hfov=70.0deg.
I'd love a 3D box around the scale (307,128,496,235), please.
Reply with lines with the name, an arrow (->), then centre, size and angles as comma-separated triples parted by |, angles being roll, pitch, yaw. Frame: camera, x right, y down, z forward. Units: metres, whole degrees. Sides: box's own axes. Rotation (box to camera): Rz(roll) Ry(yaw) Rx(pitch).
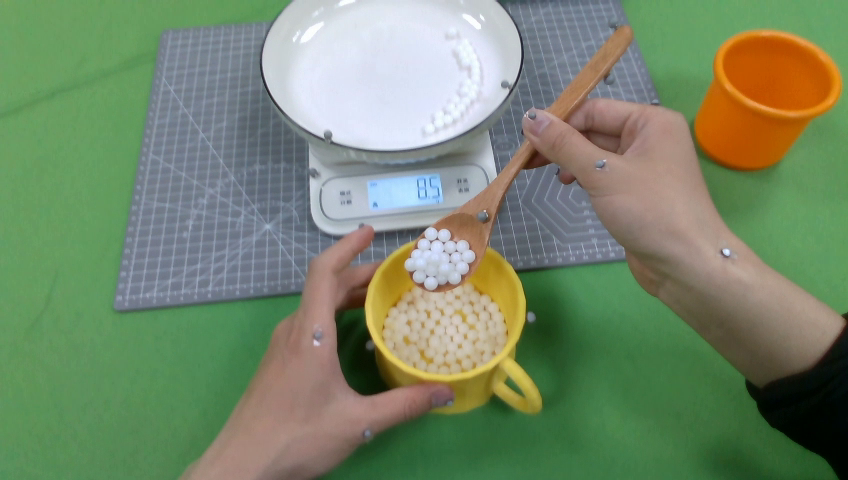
scale -> -0.023, -0.100, 0.506 | 0.149, 0.032, 0.199 | -6, 60, -2

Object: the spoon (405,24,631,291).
spoon -> 0.057, -0.048, 0.353 | 0.041, 0.022, 0.194 | 41, 97, 20

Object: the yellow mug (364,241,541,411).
yellow mug -> 0.025, 0.063, 0.394 | 0.130, 0.064, 0.100 | 40, 69, 21

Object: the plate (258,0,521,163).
plate -> -0.027, -0.142, 0.493 | 0.209, 0.038, 0.207 | 0, 60, 0
